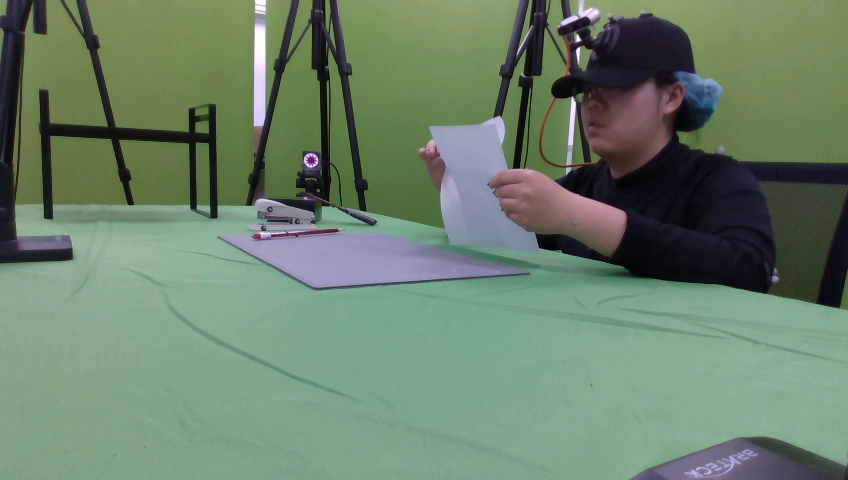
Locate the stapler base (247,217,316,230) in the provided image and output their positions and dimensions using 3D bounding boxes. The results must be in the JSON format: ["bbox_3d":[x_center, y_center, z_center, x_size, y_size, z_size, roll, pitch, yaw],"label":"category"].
[{"bbox_3d":[-0.276,-0.033,1.172,0.131,0.024,0.041,0,10,-37],"label":"stapler base"}]

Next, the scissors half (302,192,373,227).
[{"bbox_3d":[-0.191,-0.069,1.314,0.175,0.013,0.040,26,16,7],"label":"scissors half"}]

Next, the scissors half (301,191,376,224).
[{"bbox_3d":[-0.189,-0.073,1.333,0.175,0.013,0.040,22,11,-10],"label":"scissors half"}]

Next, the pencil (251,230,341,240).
[{"bbox_3d":[-0.215,-0.011,1.049,0.012,0.012,0.195,9,9,39],"label":"pencil"}]

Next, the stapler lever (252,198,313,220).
[{"bbox_3d":[-0.273,-0.058,1.170,0.119,0.040,0.026,0,10,-37],"label":"stapler lever"}]
